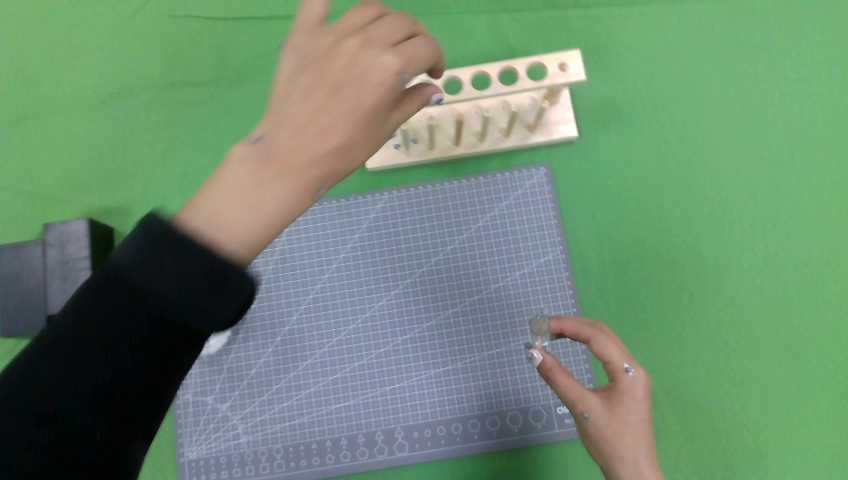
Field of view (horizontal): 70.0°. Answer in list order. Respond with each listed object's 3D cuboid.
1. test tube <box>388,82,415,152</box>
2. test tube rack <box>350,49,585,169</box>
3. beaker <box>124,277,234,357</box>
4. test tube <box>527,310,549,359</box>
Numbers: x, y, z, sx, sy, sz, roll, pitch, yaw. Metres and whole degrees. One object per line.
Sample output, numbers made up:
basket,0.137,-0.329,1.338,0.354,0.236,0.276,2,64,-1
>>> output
test tube,-0.022,-0.122,0.617,0.017,0.151,0.017,0,78,3
test tube rack,0.048,-0.140,0.664,0.242,0.085,0.066,-9,78,0
beaker,-0.242,0.080,0.620,0.084,0.100,0.073,-17,79,-2
test tube,0.095,0.081,0.501,0.017,0.151,0.017,-3,71,10
